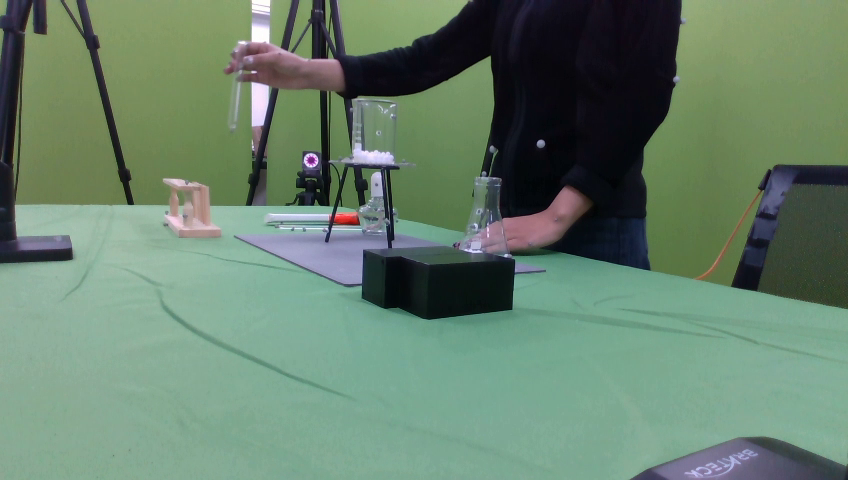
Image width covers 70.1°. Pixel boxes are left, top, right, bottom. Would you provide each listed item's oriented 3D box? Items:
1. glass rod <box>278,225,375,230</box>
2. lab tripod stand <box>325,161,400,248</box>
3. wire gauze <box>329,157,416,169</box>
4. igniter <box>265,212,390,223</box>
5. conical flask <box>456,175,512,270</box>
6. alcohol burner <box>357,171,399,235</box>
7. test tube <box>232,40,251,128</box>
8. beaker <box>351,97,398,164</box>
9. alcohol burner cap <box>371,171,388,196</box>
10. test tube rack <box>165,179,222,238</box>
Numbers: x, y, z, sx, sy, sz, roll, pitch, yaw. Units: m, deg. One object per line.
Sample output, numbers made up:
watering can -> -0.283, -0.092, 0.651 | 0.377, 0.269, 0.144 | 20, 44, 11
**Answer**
glass rod -> -0.186, -0.024, 1.178 | 0.201, 0.008, 0.008 | 1, 6, -31
lab tripod stand -> -0.083, -0.059, 0.977 | 0.148, 0.131, 0.148 | 4, 8, 0
wire gauze -> -0.079, -0.125, 0.972 | 0.121, 0.011, 0.125 | 6, 6, 5
igniter -> -0.196, -0.048, 1.286 | 0.278, 0.025, 0.057 | -2, -2, -30
conical flask -> 0.083, -0.025, 0.801 | 0.075, 0.122, 0.075 | 2, 7, 0
alcohol burner -> -0.085, -0.069, 1.125 | 0.078, 0.119, 0.078 | 3, 10, 0
test tube -> -0.317, -0.270, 1.049 | 0.017, 0.150, 0.017 | 9, 6, -1
beaker -> -0.078, -0.172, 0.962 | 0.074, 0.100, 0.084 | 6, 8, 19
alcohol burner cap -> -0.085, -0.104, 1.121 | 0.034, 0.048, 0.034 | -5, 8, 1
test tube rack -> -0.423, -0.062, 1.098 | 0.067, 0.085, 0.241 | -2, 9, -28
